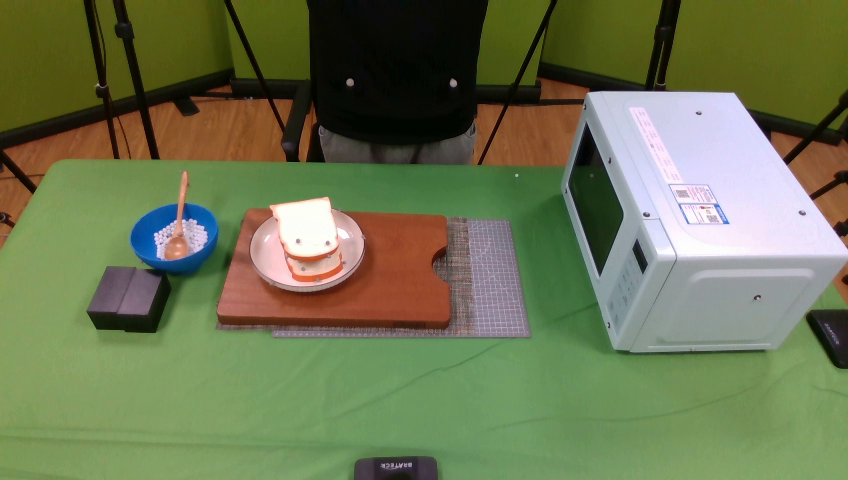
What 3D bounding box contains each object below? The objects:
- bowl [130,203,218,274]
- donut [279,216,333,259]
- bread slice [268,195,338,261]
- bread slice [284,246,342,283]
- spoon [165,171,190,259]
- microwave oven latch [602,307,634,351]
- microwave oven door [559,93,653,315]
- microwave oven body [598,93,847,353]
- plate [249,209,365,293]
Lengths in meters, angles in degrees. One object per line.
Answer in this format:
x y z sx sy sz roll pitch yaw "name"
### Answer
-0.450 0.010 1.116 0.151 0.077 0.150 2 45 -2 "bowl"
-0.213 -0.005 1.097 0.099 0.048 0.098 -2 41 2 "donut"
-0.207 -0.020 1.071 0.107 0.018 0.133 -14 55 -18 "bread slice"
-0.205 0.024 1.115 0.105 0.019 0.130 -13 45 -14 "bread slice"
-0.452 -0.046 1.129 0.041 0.022 0.193 -1 69 -2 "spoon"
0.332 0.153 1.044 0.030 0.029 0.078 -1 45 -4 "microwave oven latch"
0.327 -0.074 1.123 0.039 0.245 0.353 -1 46 -5 "microwave oven door"
0.475 -0.041 1.110 0.326 0.261 0.438 -1 45 -4 "microwave oven body"
-0.212 0.021 1.113 0.208 0.039 0.206 3 45 -2 "plate"
